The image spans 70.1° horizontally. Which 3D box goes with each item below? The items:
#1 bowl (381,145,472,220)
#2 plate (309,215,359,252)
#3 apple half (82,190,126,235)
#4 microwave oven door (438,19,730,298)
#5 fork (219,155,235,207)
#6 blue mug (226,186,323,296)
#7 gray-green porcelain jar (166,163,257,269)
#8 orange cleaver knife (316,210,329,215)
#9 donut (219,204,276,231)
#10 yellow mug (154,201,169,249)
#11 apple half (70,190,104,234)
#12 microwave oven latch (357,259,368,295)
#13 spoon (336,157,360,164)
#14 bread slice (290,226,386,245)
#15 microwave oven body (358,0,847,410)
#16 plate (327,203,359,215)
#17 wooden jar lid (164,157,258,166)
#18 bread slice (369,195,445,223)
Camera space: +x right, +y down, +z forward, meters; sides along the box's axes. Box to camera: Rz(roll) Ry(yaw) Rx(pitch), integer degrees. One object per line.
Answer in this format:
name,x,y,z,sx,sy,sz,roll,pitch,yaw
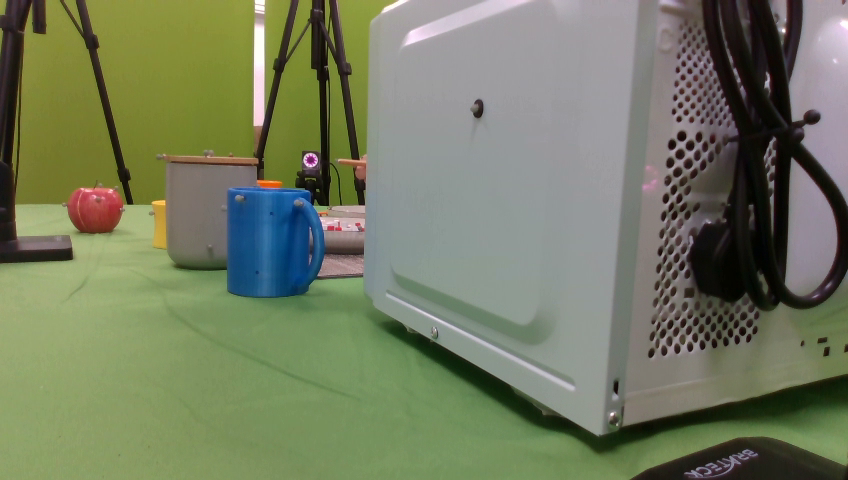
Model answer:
bowl,0.017,-0.082,0.952,0.151,0.077,0.151,-25,2,1
plate,-0.130,-0.011,0.945,0.208,0.039,0.207,2,8,0
apple half,-0.516,-0.046,0.994,0.032,0.081,0.081,0,6,26
microwave oven door,0.181,-0.076,0.618,0.358,0.243,0.039,-2,8,-28
fork,-0.459,-0.134,1.415,0.028,0.018,0.207,-1,-34,-25
blue mug,-0.148,0.000,0.618,0.116,0.106,0.083,7,9,33
gray-green porcelain jar,-0.263,-0.031,0.754,0.106,0.126,0.106,2,7,0
orange cleaver knife,-0.259,-0.064,1.423,0.212,0.012,0.077,-4,3,-30
donut,-0.316,-0.039,1.083,0.099,0.048,0.099,2,7,0
yellow mug,-0.337,-0.022,0.899,0.130,0.064,0.100,8,9,34
apple half,-0.552,-0.047,1.010,0.053,0.074,0.081,-1,10,26
microwave oven latch,-0.019,0.031,0.529,0.079,0.029,0.030,-1,7,-26
spoon,-0.058,-0.120,0.995,0.193,0.021,0.042,16,21,19
bread slice,-0.125,-0.008,0.937,0.131,0.019,0.105,3,8,32
microwave oven body,0.210,-0.051,0.471,0.444,0.260,0.324,-1,7,-28
plate,-0.102,-0.053,1.299,0.209,0.038,0.209,2,8,0
wooden jar lid,-0.261,-0.093,0.746,0.108,0.020,0.108,0,9,0
bread slice,-0.040,-0.057,1.142,0.107,0.018,0.133,-9,-8,-39
